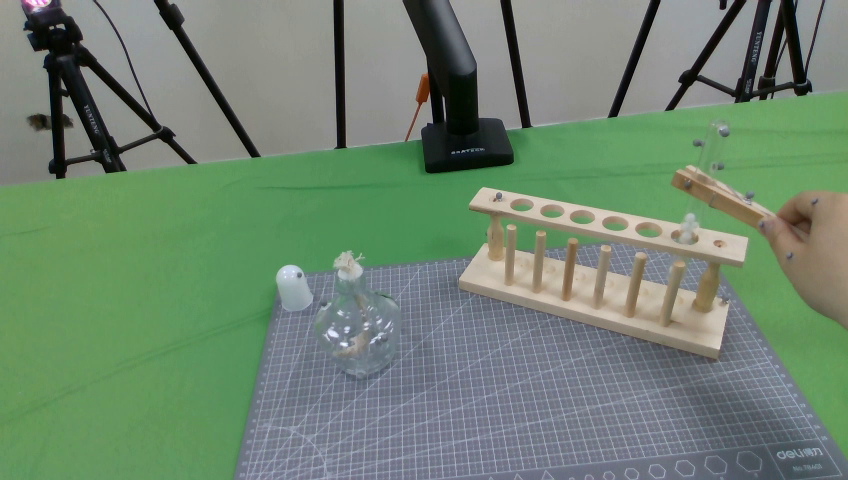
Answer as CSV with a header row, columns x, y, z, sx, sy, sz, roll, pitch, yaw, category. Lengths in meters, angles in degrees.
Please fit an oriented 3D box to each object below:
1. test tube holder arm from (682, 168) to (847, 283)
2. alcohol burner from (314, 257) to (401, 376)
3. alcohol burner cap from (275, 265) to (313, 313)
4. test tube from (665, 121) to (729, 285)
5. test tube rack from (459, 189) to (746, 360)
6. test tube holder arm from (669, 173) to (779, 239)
x,y,z,sx,sy,sz,roll,pitch,yaw,category
0.268,-0.006,0.456,0.013,0.015,0.176,-23,47,-28,test tube holder arm
-0.059,0.061,0.522,0.078,0.120,0.077,-3,39,2,alcohol burner
-0.133,0.046,0.610,0.034,0.048,0.033,-3,38,3,alcohol burner cap
0.225,-0.026,0.504,0.017,0.151,0.017,1,31,0,test tube
0.153,0.025,0.560,0.241,0.086,0.066,14,42,25,test tube rack
0.236,-0.028,0.478,0.010,0.015,0.087,-29,51,-34,test tube holder arm
